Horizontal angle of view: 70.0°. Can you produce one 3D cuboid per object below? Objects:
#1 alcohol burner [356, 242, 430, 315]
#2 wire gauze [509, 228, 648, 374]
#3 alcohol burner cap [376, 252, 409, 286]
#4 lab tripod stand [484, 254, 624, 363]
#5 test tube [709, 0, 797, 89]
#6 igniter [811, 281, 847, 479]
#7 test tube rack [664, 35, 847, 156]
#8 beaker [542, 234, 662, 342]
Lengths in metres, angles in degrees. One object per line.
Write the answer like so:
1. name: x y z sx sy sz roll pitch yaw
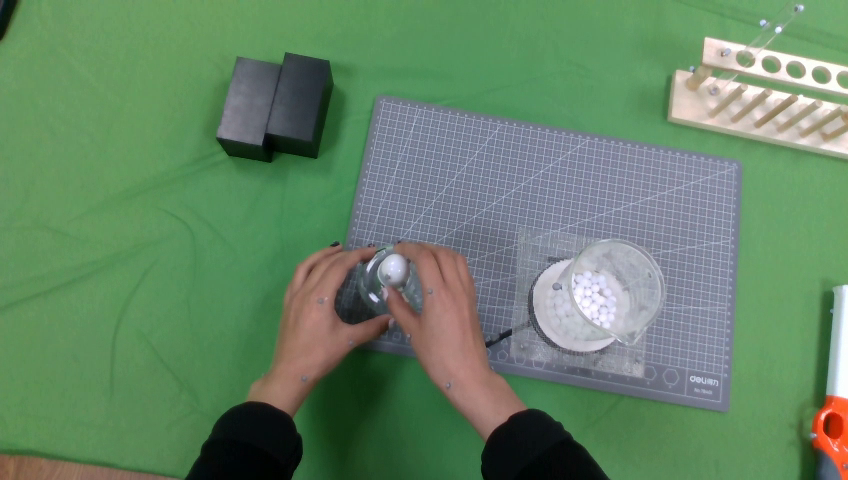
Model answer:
1. alcohol burner: -0.032 0.035 0.622 0.078 0.119 0.077 1 74 -3
2. wire gauze: 0.141 0.052 0.551 0.125 0.011 0.121 8 74 1
3. alcohol burner cap: -0.029 0.027 0.588 0.034 0.048 0.034 1 82 -8
4. lab tripod stand: 0.135 0.071 0.614 0.148 0.132 0.147 0 75 -1
5. test tube: 0.358 -0.212 0.671 0.017 0.151 0.017 1 72 -4
6. igniter: 0.454 0.180 0.665 0.057 0.025 0.275 17 76 -9
7. test tube rack: 0.423 -0.167 0.715 0.242 0.085 0.066 11 76 0
8. beaker: 0.143 0.048 0.503 0.074 0.100 0.083 -12 76 -5
